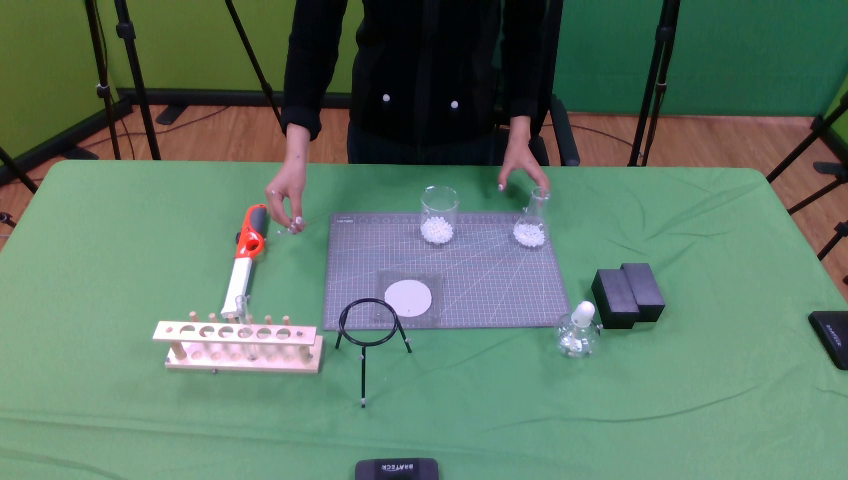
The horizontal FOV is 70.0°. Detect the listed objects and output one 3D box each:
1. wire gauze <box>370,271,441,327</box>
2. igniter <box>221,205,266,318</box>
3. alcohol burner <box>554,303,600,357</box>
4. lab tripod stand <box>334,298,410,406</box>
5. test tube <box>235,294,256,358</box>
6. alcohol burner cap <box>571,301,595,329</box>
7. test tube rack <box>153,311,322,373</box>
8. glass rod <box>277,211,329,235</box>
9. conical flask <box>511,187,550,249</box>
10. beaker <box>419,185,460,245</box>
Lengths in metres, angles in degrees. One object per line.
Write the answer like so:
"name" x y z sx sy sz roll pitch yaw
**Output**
"wire gauze" -0.032 0.103 1.104 0.125 0.011 0.121 4 46 3
"igniter" -0.337 0.031 1.140 0.057 0.025 0.274 -5 46 3
"alcohol burner" 0.260 0.143 1.018 0.078 0.119 0.077 3 45 -3
"lab tripod stand" -0.085 0.164 0.957 0.148 0.132 0.147 3 44 -2
"test tube" -0.274 0.136 0.933 0.017 0.151 0.017 4 45 -4
"alcohol burner cap" 0.262 0.120 0.991 0.034 0.048 0.033 2 52 -2
"test tube rack" -0.293 0.160 0.978 0.242 0.085 0.066 3 46 -2
"glass rod" -0.221 -0.033 1.125 0.008 0.008 0.199 17 17 12
"conical flask" 0.217 -0.048 1.190 0.075 0.122 0.075 2 46 -2
"beaker" 0.025 -0.047 1.190 0.074 0.101 0.083 -29 54 -28
